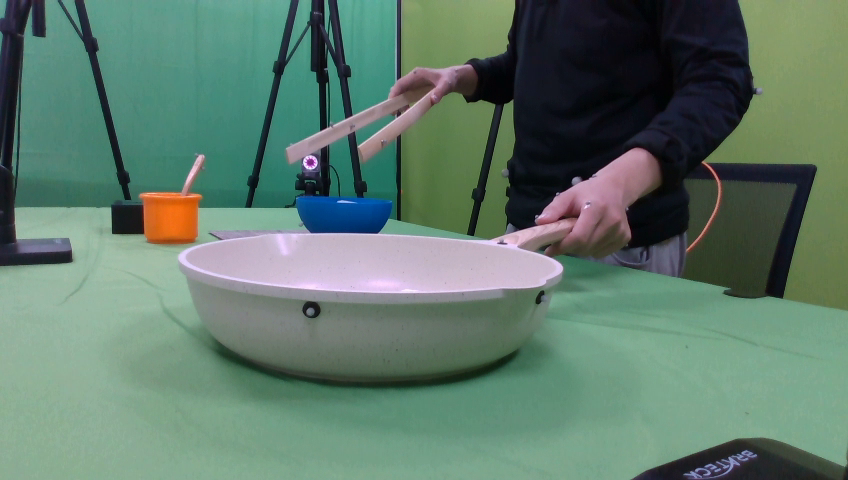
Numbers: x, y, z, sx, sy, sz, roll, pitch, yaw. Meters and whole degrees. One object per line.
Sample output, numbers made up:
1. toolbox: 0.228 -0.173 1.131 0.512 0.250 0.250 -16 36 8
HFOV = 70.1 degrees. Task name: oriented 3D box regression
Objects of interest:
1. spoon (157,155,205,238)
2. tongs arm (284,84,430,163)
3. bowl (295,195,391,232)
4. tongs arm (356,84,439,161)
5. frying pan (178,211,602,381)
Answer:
1. spoon: -0.392 -0.076 0.998 0.041 0.193 0.021 2 -37 5
2. tongs arm: -0.096 -0.207 1.031 0.050 0.026 0.386 2 26 30
3. bowl: -0.127 -0.028 0.946 0.151 0.077 0.151 2 7 0
4. tongs arm: -0.034 -0.205 1.000 0.028 0.028 0.388 -6 24 22
5. frying pan: 0.035 0.019 0.556 0.490 0.102 0.305 -16 18 -42
